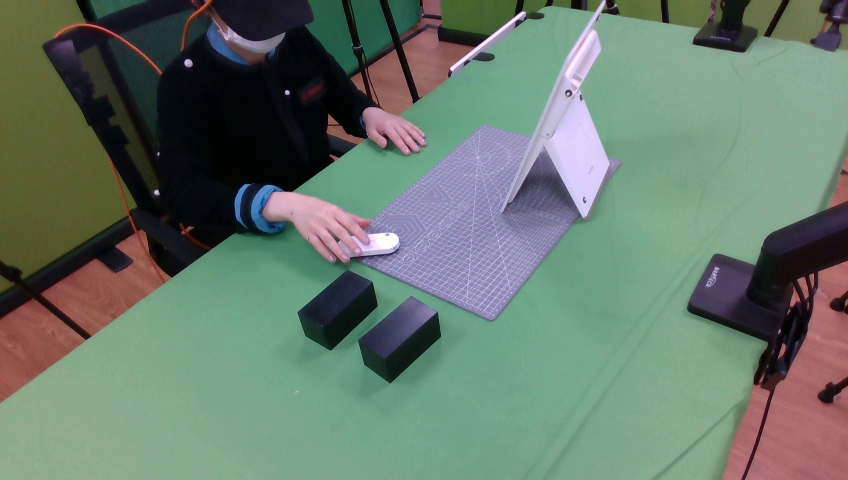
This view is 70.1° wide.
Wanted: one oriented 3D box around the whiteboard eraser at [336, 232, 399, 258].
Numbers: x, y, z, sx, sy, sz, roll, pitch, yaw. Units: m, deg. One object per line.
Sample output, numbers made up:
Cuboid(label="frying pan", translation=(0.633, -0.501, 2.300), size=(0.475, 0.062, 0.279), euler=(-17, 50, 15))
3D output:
Cuboid(label="whiteboard eraser", translation=(-0.091, 0.008, 0.971), size=(0.101, 0.019, 0.041), euler=(-5, 41, 2))

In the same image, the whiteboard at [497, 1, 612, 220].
Cuboid(label="whiteboard", translation=(0.259, -0.177, 0.963), size=(0.143, 0.306, 0.217), euler=(28, 48, 9))
